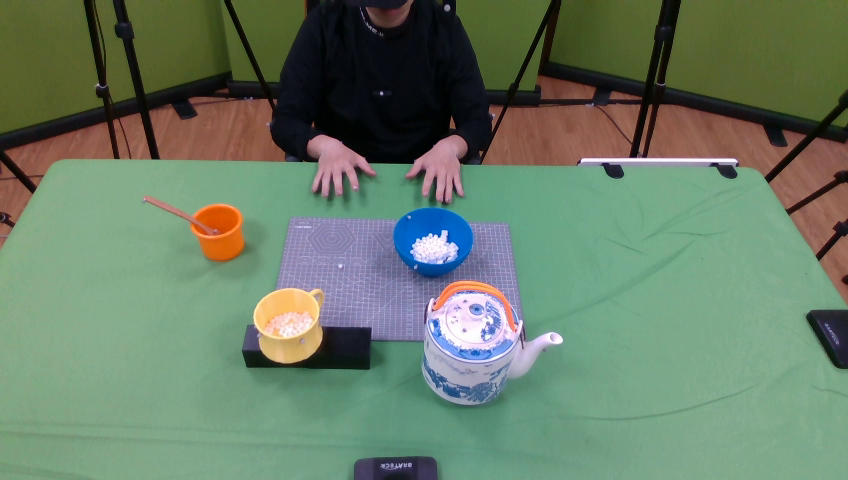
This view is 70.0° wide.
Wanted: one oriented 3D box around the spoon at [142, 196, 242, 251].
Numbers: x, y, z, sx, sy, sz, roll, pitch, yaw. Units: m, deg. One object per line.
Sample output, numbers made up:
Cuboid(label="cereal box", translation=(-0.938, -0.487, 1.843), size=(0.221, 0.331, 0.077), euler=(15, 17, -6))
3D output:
Cuboid(label="spoon", translation=(-0.421, -0.032, 1.108), size=(0.021, 0.195, 0.041), euler=(-32, 40, 28))

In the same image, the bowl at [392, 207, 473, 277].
Cuboid(label="bowl", translation=(0.014, 0.016, 1.140), size=(0.151, 0.077, 0.150), euler=(2, 46, -2))

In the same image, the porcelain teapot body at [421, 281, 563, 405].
Cuboid(label="porcelain teapot body", translation=(0.101, 0.148, 0.923), size=(0.205, 0.226, 0.144), euler=(12, 46, 7))

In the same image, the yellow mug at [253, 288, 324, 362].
Cuboid(label="yellow mug", translation=(-0.205, 0.124, 0.963), size=(0.099, 0.064, 0.130), euler=(27, 49, 21))

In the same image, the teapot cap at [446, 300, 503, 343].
Cuboid(label="teapot cap", translation=(0.076, 0.115, 0.898), size=(0.085, 0.044, 0.084), euler=(4, 45, -4))
